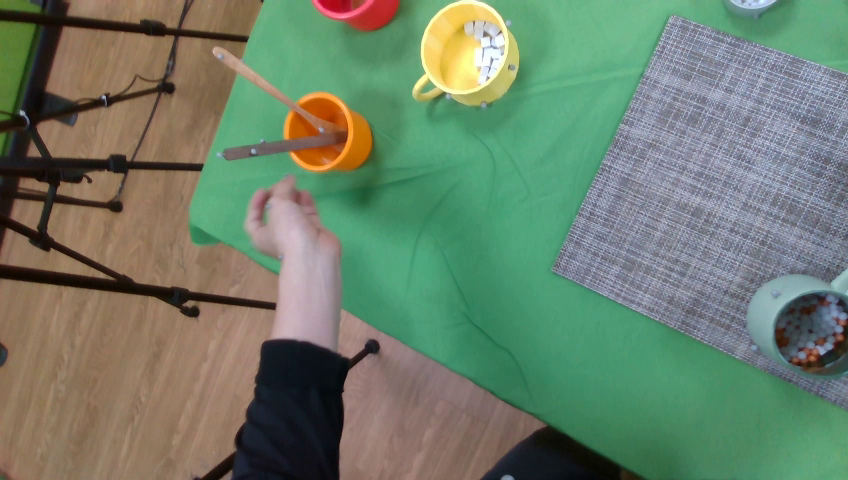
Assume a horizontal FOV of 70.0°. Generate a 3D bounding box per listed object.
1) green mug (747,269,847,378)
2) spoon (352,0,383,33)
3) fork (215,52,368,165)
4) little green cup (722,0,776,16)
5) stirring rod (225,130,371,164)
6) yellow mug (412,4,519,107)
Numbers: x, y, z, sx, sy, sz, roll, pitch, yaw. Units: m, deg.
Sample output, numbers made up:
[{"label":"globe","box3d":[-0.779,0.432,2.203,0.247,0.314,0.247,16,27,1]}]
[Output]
[{"label":"green mug","box3d":[0.371,0.067,0.563,0.092,0.105,0.125,43,104,14]},{"label":"spoon","box3d":[-0.068,-0.327,0.682,0.041,0.021,0.195,21,143,16]},{"label":"fork","box3d":[-0.152,-0.153,0.713,0.209,0.018,0.028,33,101,-29]},{"label":"little green cup","box3d":[0.328,-0.256,0.606,0.061,0.039,0.061,1,93,19]},{"label":"stirring rod","box3d":[-0.146,-0.111,0.719,0.177,0.006,0.014,-14,87,-23]},{"label":"yellow mug","box3d":[0.040,-0.198,0.691,0.131,0.064,0.099,-34,81,18]}]
